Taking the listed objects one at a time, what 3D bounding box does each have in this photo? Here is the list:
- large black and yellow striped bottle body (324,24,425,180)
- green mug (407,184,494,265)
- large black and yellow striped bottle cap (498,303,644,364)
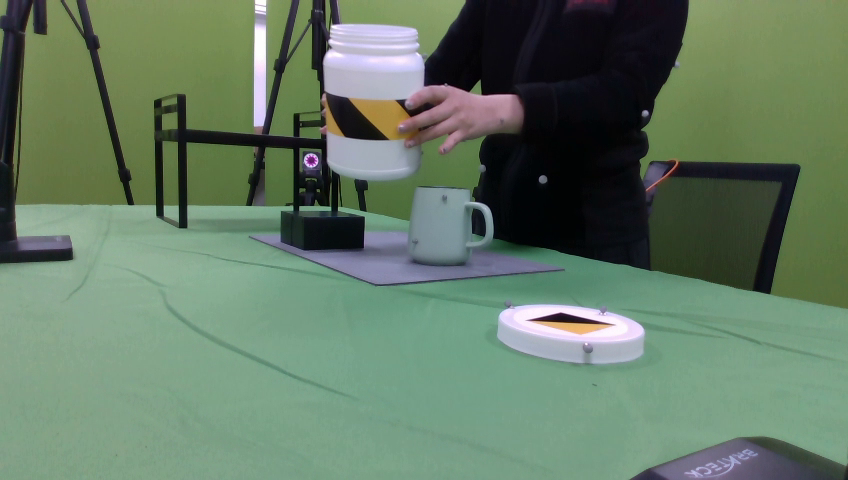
[{"bbox_3d":[-0.065,-0.185,0.800,0.131,0.184,0.130,2,24,0],"label":"large black and yellow striped bottle body"},{"bbox_3d":[0.038,-0.021,0.828,0.125,0.105,0.093,6,8,30],"label":"green mug"},{"bbox_3d":[0.117,0.072,0.486,0.115,0.019,0.115,2,8,0],"label":"large black and yellow striped bottle cap"}]
